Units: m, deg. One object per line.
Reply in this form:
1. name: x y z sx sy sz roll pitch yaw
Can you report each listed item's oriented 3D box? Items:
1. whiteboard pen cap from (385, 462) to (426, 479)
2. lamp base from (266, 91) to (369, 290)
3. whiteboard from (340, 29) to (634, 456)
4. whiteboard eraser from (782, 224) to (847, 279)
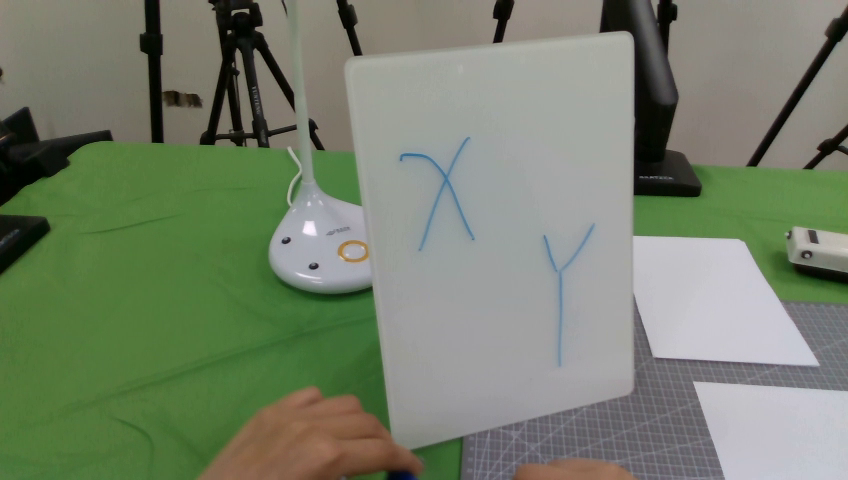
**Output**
1. whiteboard pen cap: -0.009 0.159 0.396 0.033 0.018 0.018 11 32 45
2. lamp base: -0.110 -0.063 0.666 0.161 0.182 0.177 -27 40 -34
3. whiteboard: 0.048 -0.009 0.526 0.218 0.307 0.143 -10 16 -12
4. whiteboard eraser: 0.463 0.016 0.673 0.112 0.042 0.055 12 38 18
